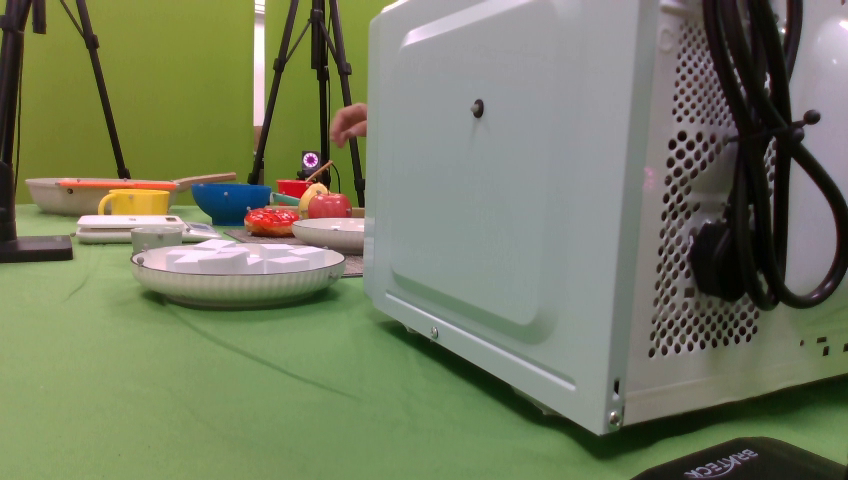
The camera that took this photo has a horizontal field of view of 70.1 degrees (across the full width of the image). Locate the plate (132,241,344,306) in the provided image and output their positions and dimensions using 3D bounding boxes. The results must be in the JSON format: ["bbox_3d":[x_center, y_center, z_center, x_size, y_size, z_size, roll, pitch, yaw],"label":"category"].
[{"bbox_3d":[-0.187,0.033,0.625,0.208,0.039,0.207,2,8,0],"label":"plate"}]

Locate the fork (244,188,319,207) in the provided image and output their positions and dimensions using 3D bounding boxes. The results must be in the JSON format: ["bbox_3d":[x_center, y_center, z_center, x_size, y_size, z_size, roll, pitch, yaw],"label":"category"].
[{"bbox_3d":[-0.356,-0.105,1.526,0.208,0.018,0.028,16,-6,-41],"label":"fork"}]

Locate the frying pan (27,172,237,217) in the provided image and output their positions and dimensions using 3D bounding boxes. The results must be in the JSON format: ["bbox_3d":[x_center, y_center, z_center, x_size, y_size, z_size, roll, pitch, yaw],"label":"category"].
[{"bbox_3d":[-0.624,-0.118,1.387,0.305,0.102,0.490,8,17,32],"label":"frying pan"}]

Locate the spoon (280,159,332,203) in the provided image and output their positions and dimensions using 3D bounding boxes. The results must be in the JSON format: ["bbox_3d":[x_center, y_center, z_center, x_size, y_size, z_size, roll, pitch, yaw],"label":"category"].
[{"bbox_3d":[-0.316,-0.159,1.640,0.194,0.022,0.041,-50,32,-20],"label":"spoon"}]

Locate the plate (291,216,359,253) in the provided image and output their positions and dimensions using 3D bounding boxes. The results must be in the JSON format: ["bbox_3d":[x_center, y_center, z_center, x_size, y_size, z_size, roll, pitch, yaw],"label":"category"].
[{"bbox_3d":[-0.103,-0.009,0.945,0.209,0.038,0.209,2,7,0],"label":"plate"}]

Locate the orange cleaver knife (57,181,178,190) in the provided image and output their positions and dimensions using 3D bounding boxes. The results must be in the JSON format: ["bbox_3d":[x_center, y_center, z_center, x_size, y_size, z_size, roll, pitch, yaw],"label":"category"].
[{"bbox_3d":[-0.600,-0.109,1.189,0.212,0.012,0.077,-1,11,-26],"label":"orange cleaver knife"}]

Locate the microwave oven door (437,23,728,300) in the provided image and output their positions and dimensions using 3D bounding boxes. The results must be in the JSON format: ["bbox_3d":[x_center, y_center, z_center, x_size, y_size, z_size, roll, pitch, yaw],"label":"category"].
[{"bbox_3d":[0.180,-0.072,0.621,0.358,0.243,0.039,-2,8,-29],"label":"microwave oven door"}]

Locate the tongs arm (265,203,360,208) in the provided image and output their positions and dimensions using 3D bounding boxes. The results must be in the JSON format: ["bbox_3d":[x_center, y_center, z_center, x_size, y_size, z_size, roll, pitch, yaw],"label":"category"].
[{"bbox_3d":[-0.211,-0.070,1.440,0.389,0.027,0.028,1,0,-17],"label":"tongs arm"}]

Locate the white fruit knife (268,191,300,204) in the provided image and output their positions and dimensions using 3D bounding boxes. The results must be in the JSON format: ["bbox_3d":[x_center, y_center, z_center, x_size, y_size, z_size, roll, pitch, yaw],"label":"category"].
[{"bbox_3d":[-0.364,-0.105,1.464,0.208,0.027,0.016,15,-1,-34],"label":"white fruit knife"}]

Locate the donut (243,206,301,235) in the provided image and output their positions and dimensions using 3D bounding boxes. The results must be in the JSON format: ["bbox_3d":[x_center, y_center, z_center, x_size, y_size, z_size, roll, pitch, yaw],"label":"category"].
[{"bbox_3d":[-0.261,-0.032,1.043,0.099,0.048,0.099,3,9,0],"label":"donut"}]

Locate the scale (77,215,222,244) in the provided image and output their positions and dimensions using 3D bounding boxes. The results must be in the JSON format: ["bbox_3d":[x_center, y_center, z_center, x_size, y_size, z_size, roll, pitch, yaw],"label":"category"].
[{"bbox_3d":[-0.434,-0.019,0.963,0.202,0.031,0.148,-1,9,-27],"label":"scale"}]

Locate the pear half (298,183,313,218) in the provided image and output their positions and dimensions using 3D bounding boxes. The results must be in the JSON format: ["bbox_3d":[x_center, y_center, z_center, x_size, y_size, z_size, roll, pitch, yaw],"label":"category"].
[{"bbox_3d":[-0.235,-0.071,1.207,0.031,0.088,0.070,3,10,0],"label":"pear half"}]

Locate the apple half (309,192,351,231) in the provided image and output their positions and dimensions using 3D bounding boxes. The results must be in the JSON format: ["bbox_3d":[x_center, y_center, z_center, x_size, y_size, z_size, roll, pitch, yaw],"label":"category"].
[{"bbox_3d":[-0.173,-0.055,1.125,0.081,0.081,0.033,3,10,3],"label":"apple half"}]

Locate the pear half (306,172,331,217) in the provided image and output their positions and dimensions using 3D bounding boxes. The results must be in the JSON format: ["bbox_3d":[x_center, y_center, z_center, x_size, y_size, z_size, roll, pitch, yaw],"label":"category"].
[{"bbox_3d":[-0.200,-0.079,1.203,0.056,0.110,0.076,3,11,1],"label":"pear half"}]

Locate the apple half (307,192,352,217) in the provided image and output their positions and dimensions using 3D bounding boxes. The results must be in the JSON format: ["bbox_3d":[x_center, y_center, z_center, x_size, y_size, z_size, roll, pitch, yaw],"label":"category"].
[{"bbox_3d":[-0.174,-0.049,1.087,0.081,0.074,0.053,6,11,2],"label":"apple half"}]

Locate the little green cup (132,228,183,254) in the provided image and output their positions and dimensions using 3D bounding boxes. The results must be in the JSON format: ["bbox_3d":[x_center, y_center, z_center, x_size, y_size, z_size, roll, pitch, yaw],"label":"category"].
[{"bbox_3d":[-0.342,0.006,0.779,0.061,0.038,0.061,2,8,0],"label":"little green cup"}]

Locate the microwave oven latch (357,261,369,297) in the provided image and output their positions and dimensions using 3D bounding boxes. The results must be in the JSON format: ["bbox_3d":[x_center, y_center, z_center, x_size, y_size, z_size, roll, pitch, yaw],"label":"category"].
[{"bbox_3d":[-0.019,0.033,0.531,0.079,0.029,0.030,-1,7,-27],"label":"microwave oven latch"}]

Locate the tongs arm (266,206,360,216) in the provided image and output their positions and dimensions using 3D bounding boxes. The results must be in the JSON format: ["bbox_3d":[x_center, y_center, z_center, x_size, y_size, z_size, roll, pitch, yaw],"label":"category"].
[{"bbox_3d":[-0.174,-0.061,1.363,0.387,0.026,0.050,-1,5,-31],"label":"tongs arm"}]

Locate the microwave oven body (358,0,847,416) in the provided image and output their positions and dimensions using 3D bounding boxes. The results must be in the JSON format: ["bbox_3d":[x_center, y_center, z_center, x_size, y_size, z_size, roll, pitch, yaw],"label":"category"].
[{"bbox_3d":[0.211,-0.047,0.475,0.444,0.260,0.324,-1,7,-28],"label":"microwave oven body"}]

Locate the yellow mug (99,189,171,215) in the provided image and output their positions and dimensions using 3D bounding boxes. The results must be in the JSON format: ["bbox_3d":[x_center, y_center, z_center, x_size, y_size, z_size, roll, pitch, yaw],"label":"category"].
[{"bbox_3d":[-0.519,-0.055,1.080,0.099,0.064,0.131,7,10,26],"label":"yellow mug"}]

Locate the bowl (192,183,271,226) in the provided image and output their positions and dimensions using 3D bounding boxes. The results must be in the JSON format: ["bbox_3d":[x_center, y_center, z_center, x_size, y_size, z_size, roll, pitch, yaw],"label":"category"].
[{"bbox_3d":[-0.382,-0.071,1.202,0.151,0.077,0.151,3,7,0],"label":"bowl"}]
